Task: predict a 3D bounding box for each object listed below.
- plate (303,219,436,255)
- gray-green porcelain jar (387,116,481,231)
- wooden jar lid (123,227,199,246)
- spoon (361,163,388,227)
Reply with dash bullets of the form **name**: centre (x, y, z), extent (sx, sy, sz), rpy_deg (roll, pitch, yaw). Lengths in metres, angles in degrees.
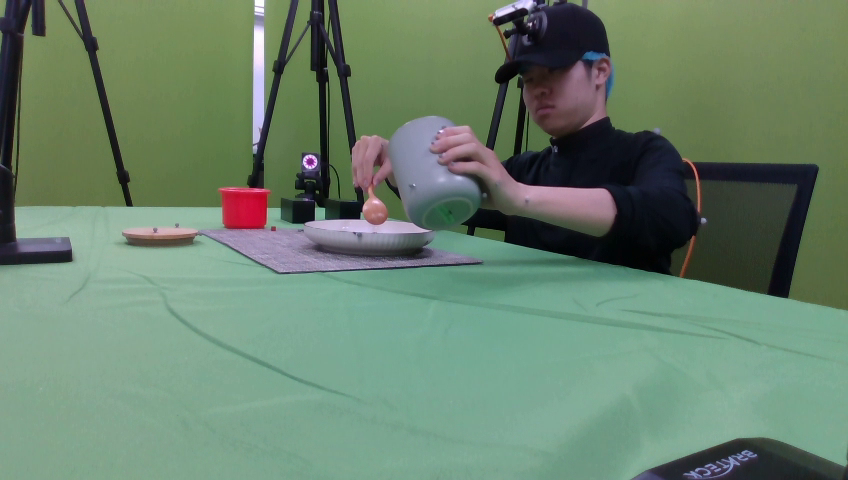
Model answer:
- **plate**: centre (-0.084, -0.005, 0.952), extent (0.208, 0.039, 0.207), rpy_deg (3, 7, 0)
- **gray-green porcelain jar**: centre (0.015, -0.084, 0.813), extent (0.106, 0.126, 0.106), rpy_deg (-13, -29, -7)
- **wooden jar lid**: centre (-0.408, -0.006, 0.942), extent (0.108, 0.020, 0.108), rpy_deg (3, 6, 0)
- **spoon**: centre (-0.091, -0.080, 1.010), extent (0.042, 0.021, 0.193), rpy_deg (11, 29, -20)
